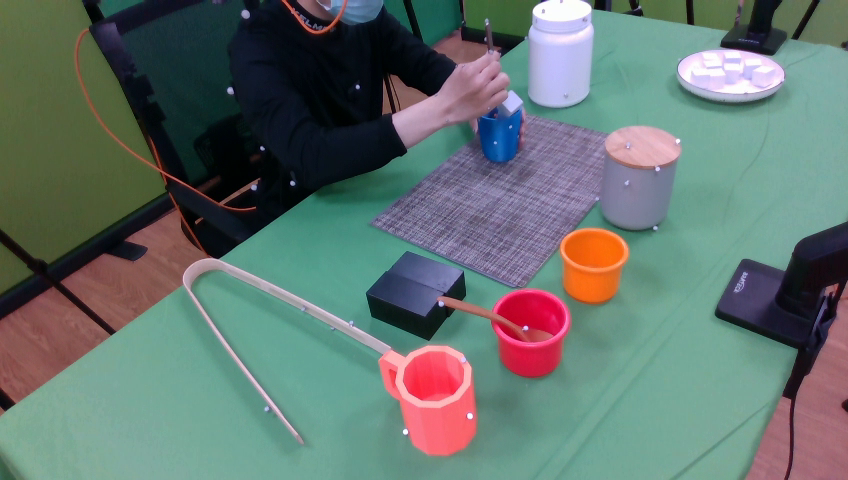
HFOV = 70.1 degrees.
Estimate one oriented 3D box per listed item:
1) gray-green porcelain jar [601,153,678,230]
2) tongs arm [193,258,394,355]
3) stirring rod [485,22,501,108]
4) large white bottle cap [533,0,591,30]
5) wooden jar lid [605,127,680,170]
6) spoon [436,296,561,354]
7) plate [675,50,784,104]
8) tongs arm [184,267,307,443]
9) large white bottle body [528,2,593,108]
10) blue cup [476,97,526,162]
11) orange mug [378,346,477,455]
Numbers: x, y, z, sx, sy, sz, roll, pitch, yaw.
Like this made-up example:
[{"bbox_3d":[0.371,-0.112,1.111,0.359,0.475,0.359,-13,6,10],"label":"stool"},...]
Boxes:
[{"bbox_3d":[0.334,-0.087,0.949,0.106,0.127,0.105,-4,40,4],"label":"gray-green porcelain jar"},{"bbox_3d":[-0.204,0.099,0.881,0.382,0.027,0.051,23,55,32],"label":"tongs arm"},{"bbox_3d":[0.118,-0.291,1.020,0.006,0.177,0.014,9,58,20],"label":"stirring rod"},{"bbox_3d":[0.274,-0.450,1.204,0.115,0.018,0.114,-4,41,4],"label":"large white bottle cap"},{"bbox_3d":[0.327,-0.134,0.909,0.108,0.021,0.108,-2,43,2],"label":"wooden jar lid"},{"bbox_3d":[0.095,0.102,0.750,0.195,0.021,0.041,28,31,-28],"label":"spoon"},{"bbox_3d":[0.632,-0.336,1.262,0.207,0.039,0.206,-4,41,4],"label":"plate"},{"bbox_3d":[-0.260,0.147,0.843,0.028,0.028,0.384,-37,48,-18],"label":"tongs arm"},{"bbox_3d":[0.283,-0.386,1.259,0.130,0.185,0.130,-5,41,4],"label":"large white bottle body"},{"bbox_3d":[0.141,-0.203,1.133,0.092,0.100,0.092,-3,39,3],"label":"blue cup"},{"bbox_3d":[0.002,0.179,0.708,0.125,0.101,0.083,25,50,27],"label":"orange mug"}]
